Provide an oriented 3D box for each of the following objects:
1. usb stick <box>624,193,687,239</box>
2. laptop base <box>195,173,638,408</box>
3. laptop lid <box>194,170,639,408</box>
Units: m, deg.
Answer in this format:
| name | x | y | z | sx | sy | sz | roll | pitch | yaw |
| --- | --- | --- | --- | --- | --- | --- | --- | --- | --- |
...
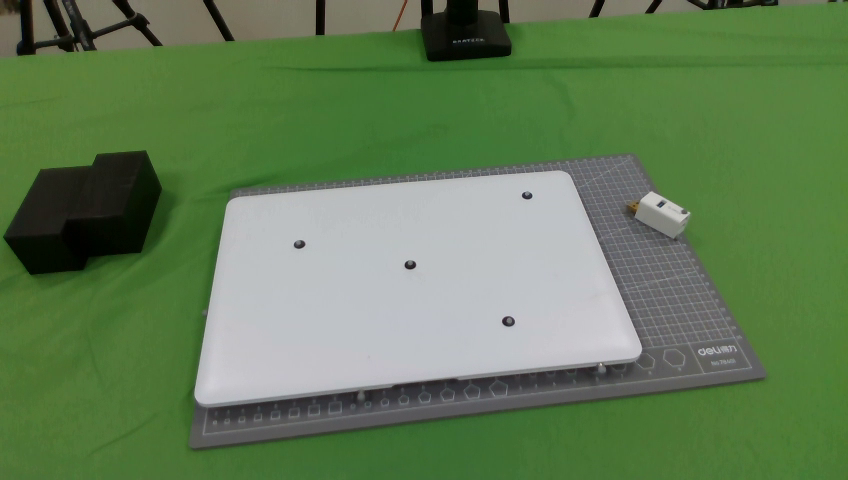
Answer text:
| name | x | y | z | sx | sy | sz | roll | pitch | yaw |
| --- | --- | --- | --- | --- | --- | --- | --- | --- | --- |
| usb stick | 0.227 | -0.027 | 0.600 | 0.021 | 0.027 | 0.058 | -34 | 51 | -29 |
| laptop base | -0.013 | 0.033 | 0.554 | 0.355 | 0.023 | 0.233 | -5 | 49 | -4 |
| laptop lid | -0.013 | 0.026 | 0.544 | 0.357 | 0.013 | 0.239 | -4 | 47 | -3 |
